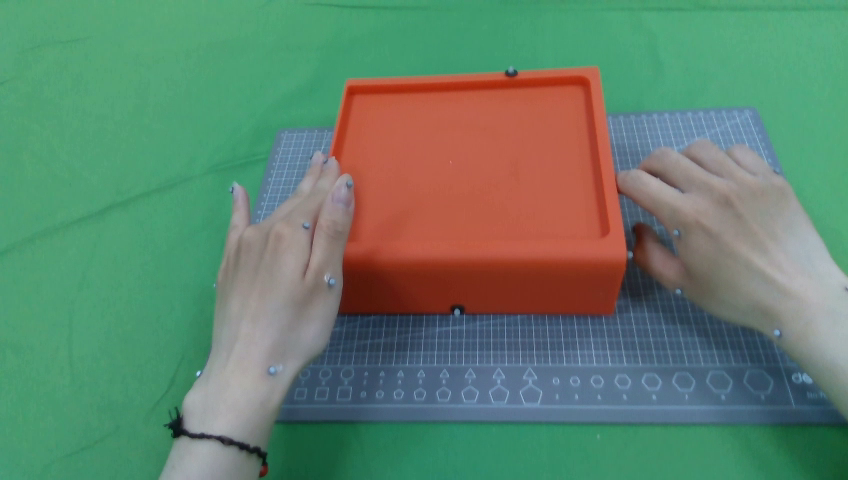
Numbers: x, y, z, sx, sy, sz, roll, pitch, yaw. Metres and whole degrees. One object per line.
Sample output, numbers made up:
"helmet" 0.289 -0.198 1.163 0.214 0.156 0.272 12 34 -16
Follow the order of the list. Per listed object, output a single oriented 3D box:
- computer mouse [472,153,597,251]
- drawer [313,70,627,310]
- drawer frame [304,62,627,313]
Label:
"computer mouse" 0.087 -0.037 0.468 0.062 0.041 0.117 9 39 34
"drawer" 0.038 -0.043 0.474 0.211 0.074 0.192 -1 53 8
"drawer frame" 0.036 -0.043 0.472 0.213 0.083 0.200 -1 53 7
